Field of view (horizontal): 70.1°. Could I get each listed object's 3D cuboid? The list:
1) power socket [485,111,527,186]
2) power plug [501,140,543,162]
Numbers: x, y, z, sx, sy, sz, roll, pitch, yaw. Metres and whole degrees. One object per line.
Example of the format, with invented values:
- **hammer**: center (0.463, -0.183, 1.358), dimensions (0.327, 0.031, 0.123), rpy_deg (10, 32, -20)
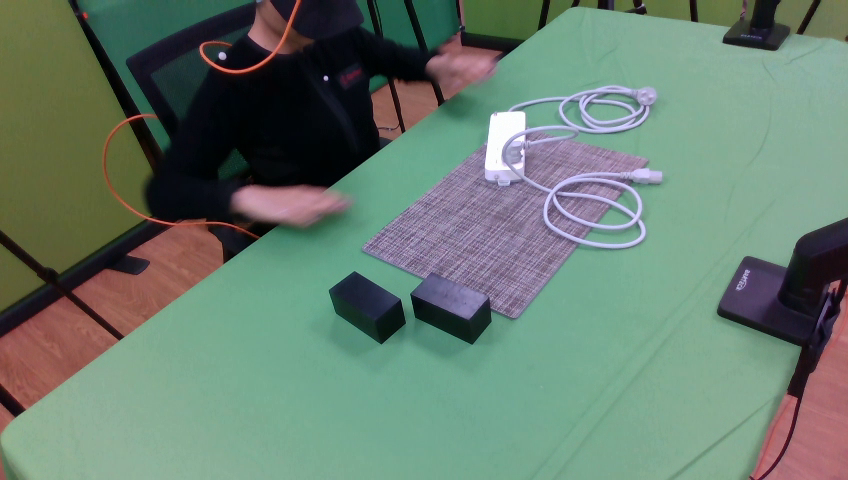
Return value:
- **power socket**: center (0.159, -0.181, 1.153), dimensions (0.072, 0.033, 0.226), rpy_deg (0, 40, 11)
- **power plug**: center (0.174, -0.150, 1.078), dimensions (0.072, 0.053, 0.035), rpy_deg (6, 42, 19)
